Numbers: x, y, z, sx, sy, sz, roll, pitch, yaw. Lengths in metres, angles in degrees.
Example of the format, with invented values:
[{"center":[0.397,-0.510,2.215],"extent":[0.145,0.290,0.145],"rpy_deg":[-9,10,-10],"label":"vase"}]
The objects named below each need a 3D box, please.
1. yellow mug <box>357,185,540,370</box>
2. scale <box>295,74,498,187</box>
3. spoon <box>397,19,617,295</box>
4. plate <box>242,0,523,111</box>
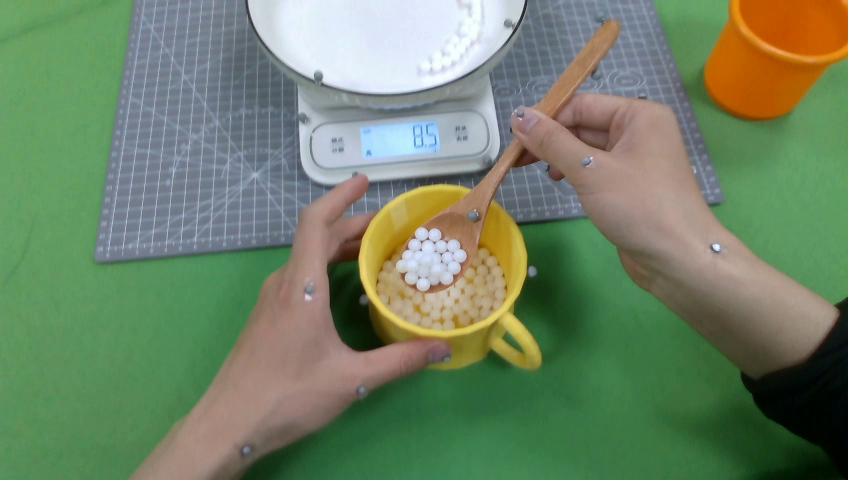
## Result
[{"center":[0.022,0.033,0.379],"extent":[0.130,0.064,0.100],"rpy_deg":[41,71,17],"label":"yellow mug"},{"center":[-0.027,-0.138,0.478],"extent":[0.149,0.032,0.199],"rpy_deg":[-6,64,-2],"label":"scale"},{"center":[0.050,-0.048,0.352],"extent":[0.041,0.022,0.194],"rpy_deg":[40,98,18],"label":"spoon"},{"center":[-0.030,-0.178,0.462],"extent":[0.209,0.038,0.207],"rpy_deg":[0,64,-1],"label":"plate"}]
